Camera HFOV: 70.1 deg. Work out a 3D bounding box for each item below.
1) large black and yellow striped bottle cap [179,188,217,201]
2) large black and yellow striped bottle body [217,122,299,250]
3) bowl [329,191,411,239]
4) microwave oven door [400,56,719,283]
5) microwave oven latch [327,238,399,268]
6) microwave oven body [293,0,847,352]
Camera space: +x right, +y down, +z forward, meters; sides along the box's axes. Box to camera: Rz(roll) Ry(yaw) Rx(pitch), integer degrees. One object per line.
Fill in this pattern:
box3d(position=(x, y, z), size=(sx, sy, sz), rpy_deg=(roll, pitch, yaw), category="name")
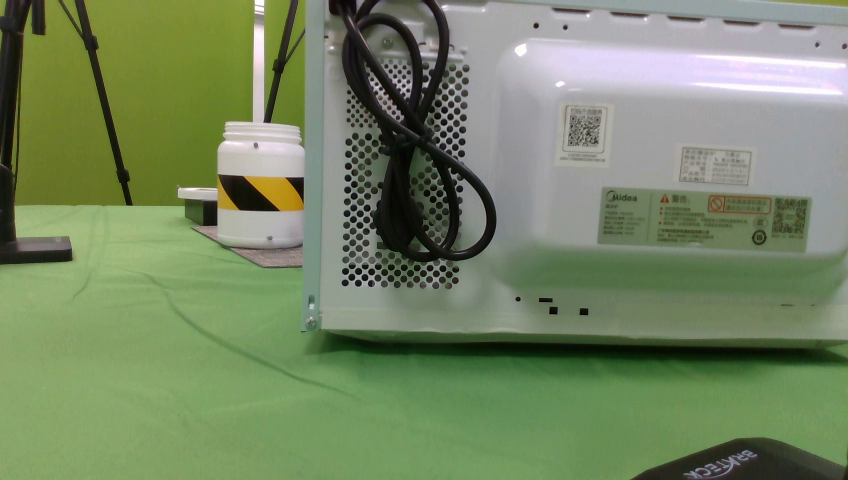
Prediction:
box3d(position=(-0.434, -0.093, 1.226), size=(0.115, 0.019, 0.115), rpy_deg=(3, 9, 0), category="large black and yellow striped bottle cap")
box3d(position=(-0.250, -0.084, 0.931), size=(0.131, 0.184, 0.130), rpy_deg=(2, 7, 0), category="large black and yellow striped bottle body")
box3d(position=(-0.099, -0.046, 1.104), size=(0.151, 0.077, 0.151), rpy_deg=(3, 8, 0), category="bowl")
box3d(position=(0.155, -0.077, 0.698), size=(0.356, 0.243, 0.039), rpy_deg=(2, 8, -5), category="microwave oven door")
box3d(position=(-0.069, 0.015, 0.694), size=(0.079, 0.029, 0.030), rpy_deg=(3, 7, -3), category="microwave oven latch")
box3d(position=(0.122, -0.055, 0.550), size=(0.442, 0.260, 0.325), rpy_deg=(3, 7, -5), category="microwave oven body")
